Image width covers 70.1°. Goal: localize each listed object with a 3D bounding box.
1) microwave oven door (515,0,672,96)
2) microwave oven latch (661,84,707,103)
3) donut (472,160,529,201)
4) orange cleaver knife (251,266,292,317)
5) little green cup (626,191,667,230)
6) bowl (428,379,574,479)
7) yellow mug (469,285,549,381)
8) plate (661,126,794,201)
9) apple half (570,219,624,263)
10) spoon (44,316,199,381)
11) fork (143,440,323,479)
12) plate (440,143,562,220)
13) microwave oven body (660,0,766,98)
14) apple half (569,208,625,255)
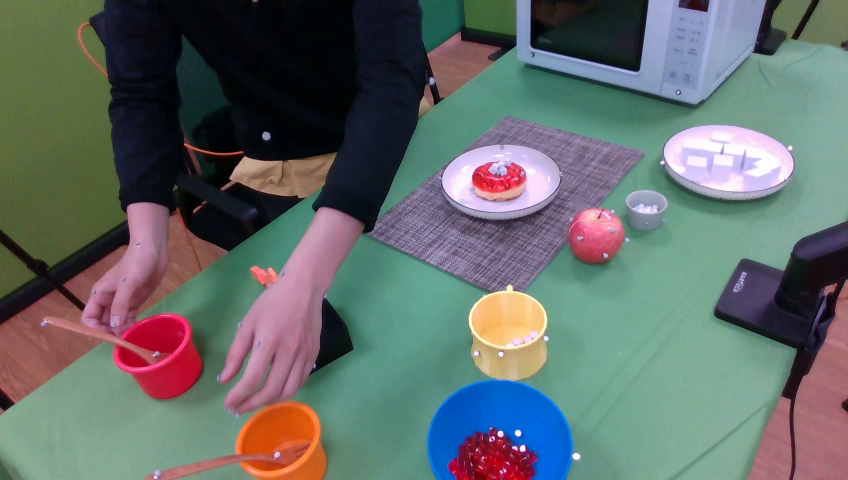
[{"bbox_3d":[0.343,-0.454,1.259,0.353,0.245,0.039,26,51,33],"label":"microwave oven door"},{"bbox_3d":[0.517,-0.296,1.204,0.078,0.029,0.030,26,52,34],"label":"microwave oven latch"},{"bbox_3d":[0.132,-0.105,1.043,0.099,0.048,0.098,-5,37,4],"label":"donut"},{"bbox_3d":[-0.221,0.071,0.873,0.012,0.077,0.210,-25,11,-21],"label":"orange cleaver knife"},{"bbox_3d":[0.352,-0.046,0.963,0.061,0.039,0.061,-4,40,4],"label":"little green cup"},{"bbox_3d":[0.082,0.233,0.644,0.151,0.077,0.150,-4,39,4],"label":"bowl"},{"bbox_3d":[0.112,0.112,0.792,0.100,0.064,0.130,0,39,9],"label":"yellow mug"},{"bbox_3d":[0.513,-0.127,1.035,0.207,0.039,0.206,-4,40,4],"label":"plate"},{"bbox_3d":[0.250,0.010,0.885,0.081,0.081,0.033,7,39,17],"label":"apple half"},{"bbox_3d":[-0.385,0.137,0.779,0.195,0.021,0.041,31,36,-24],"label":"spoon"},{"bbox_3d":[-0.189,0.231,0.631,0.028,0.018,0.209,37,14,37],"label":"fork"},{"bbox_3d":[0.134,-0.098,1.051,0.209,0.038,0.208,-4,40,4],"label":"plate"},{"bbox_3d":[0.472,-0.513,1.317,0.438,0.261,0.327,26,51,34],"label":"microwave oven body"},{"bbox_3d":[0.262,-0.014,0.913,0.080,0.075,0.053,4,37,20],"label":"apple half"}]
